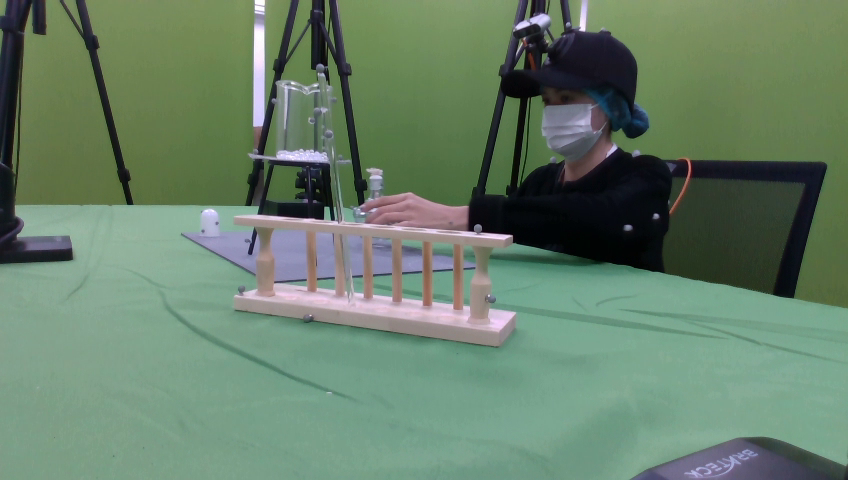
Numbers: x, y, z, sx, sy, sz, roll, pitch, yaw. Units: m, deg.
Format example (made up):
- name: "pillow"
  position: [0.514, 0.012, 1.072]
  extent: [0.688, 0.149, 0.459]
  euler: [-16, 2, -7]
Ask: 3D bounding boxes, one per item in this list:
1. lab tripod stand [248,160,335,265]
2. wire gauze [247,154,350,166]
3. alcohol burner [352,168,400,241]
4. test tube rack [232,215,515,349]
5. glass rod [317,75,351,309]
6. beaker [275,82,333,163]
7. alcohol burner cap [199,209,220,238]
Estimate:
- name: "lab tripod stand"
  position: [-0.165, -0.041, 0.817]
  extent: [0.148, 0.131, 0.148]
  euler: [5, 7, 0]
- name: "wire gauze"
  position: [-0.170, -0.105, 0.802]
  extent: [0.122, 0.011, 0.124]
  euler: [-1, 11, -20]
- name: "alcohol burner"
  position: [-0.078, -0.058, 0.981]
  extent: [0.078, 0.119, 0.078]
  euler: [-1, 8, 0]
- name: "test tube rack"
  position: [-0.045, 0.028, 0.525]
  extent: [0.242, 0.085, 0.067]
  euler: [5, 8, 19]
- name: "glass rod"
  position: [-0.075, -0.036, 0.502]
  extent: [0.008, 0.199, 0.008]
  euler: [-5, 8, 1]
- name: "beaker"
  position: [-0.159, -0.152, 0.795]
  extent: [0.074, 0.100, 0.083]
  euler: [1, 8, -15]
- name: "alcohol burner cap"
  position: [-0.356, -0.027, 1.002]
  extent: [0.034, 0.048, 0.034]
  euler: [2, 7, 0]
